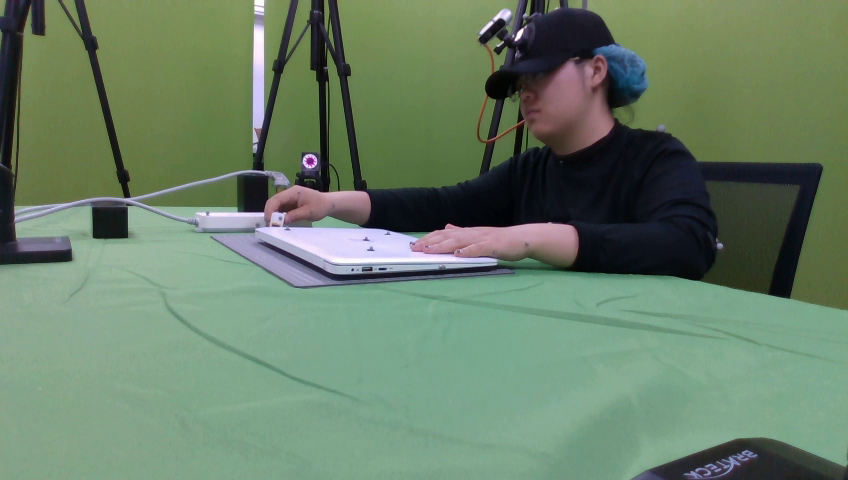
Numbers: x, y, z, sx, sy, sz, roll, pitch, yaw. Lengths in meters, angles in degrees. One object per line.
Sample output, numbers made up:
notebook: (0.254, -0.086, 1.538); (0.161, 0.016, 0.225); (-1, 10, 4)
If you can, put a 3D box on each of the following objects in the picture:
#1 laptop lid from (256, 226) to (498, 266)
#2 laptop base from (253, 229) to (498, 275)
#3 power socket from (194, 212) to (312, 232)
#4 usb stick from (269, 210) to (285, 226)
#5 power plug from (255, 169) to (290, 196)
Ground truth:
laptop lid: (-0.085, 0.004, 0.878); (0.243, 0.013, 0.355); (1, 7, -29)
laptop base: (-0.088, 0.016, 0.878); (0.237, 0.023, 0.352); (2, 6, -31)
power socket: (-0.322, -0.037, 1.153); (0.228, 0.032, 0.072); (-2, 8, -34)
usb stick: (-0.251, -0.034, 1.031); (0.021, 0.027, 0.059); (12, 10, -11)
power plug: (-0.323, -0.120, 1.285); (0.073, 0.052, 0.035); (2, -13, -13)
